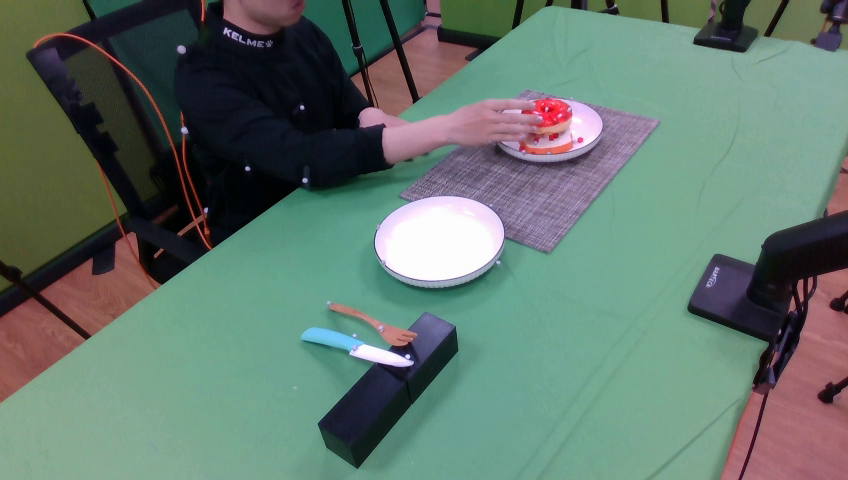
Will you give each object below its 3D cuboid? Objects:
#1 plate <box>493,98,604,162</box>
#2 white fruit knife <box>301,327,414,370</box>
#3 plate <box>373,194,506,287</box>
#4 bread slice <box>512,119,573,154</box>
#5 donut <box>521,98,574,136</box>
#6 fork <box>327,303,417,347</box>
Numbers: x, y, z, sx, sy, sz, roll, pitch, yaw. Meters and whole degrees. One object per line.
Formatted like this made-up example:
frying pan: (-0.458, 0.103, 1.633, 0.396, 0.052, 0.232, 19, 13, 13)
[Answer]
plate: (0.237, -0.206, 1.158, 0.209, 0.038, 0.208, -4, 40, 4)
white fruit knife: (-0.088, 0.140, 0.781, 0.205, 0.016, 0.027, 8, 42, 42)
plate: (0.025, 0.003, 0.951, 0.207, 0.039, 0.206, -4, 41, 4)
bread slice: (0.232, -0.203, 1.160, 0.105, 0.019, 0.131, -8, 39, 1)
donut: (0.232, -0.233, 1.135, 0.099, 0.048, 0.098, -4, 41, 4)
fork: (-0.077, 0.110, 0.811, 0.028, 0.019, 0.205, -41, 33, -26)
